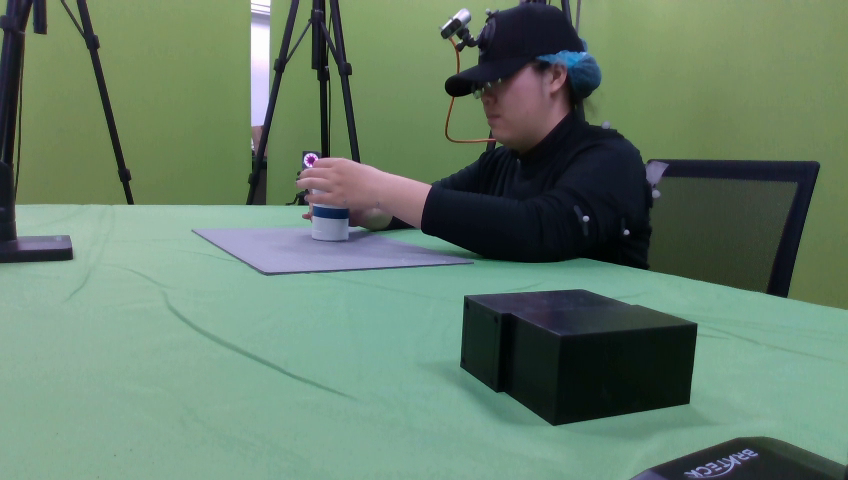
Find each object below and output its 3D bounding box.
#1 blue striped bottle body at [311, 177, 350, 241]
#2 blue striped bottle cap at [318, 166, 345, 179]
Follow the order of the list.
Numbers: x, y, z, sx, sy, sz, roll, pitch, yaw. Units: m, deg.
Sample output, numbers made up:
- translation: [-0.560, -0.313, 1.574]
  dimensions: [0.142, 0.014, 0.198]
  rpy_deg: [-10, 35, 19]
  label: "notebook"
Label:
- translation: [-0.158, -0.061, 1.021]
  dimensions: [0.063, 0.120, 0.063]
  rpy_deg: [3, 5, 0]
  label: "blue striped bottle body"
- translation: [-0.155, -0.113, 1.015]
  dimensions: [0.044, 0.020, 0.044]
  rpy_deg: [4, 5, 0]
  label: "blue striped bottle cap"
